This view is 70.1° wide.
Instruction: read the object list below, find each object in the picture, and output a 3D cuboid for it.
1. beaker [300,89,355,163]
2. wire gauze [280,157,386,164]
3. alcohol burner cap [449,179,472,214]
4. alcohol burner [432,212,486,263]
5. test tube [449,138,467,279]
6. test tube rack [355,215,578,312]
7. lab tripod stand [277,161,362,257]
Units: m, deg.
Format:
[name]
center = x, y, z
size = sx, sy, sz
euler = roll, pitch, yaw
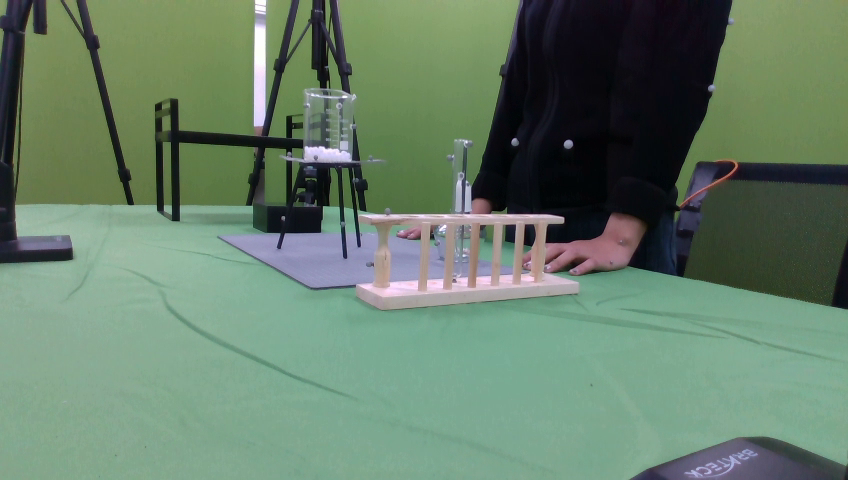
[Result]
[beaker]
center = -0.136, -0.161, 0.867
size = 0.083, 0.100, 0.074
euler = 5, 8, 24
[wire gauze]
center = -0.134, -0.113, 0.875
size = 0.122, 0.011, 0.124
euler = -1, 6, -30
[alcohol burner cap]
center = 0.052, -0.063, 0.858
size = 0.034, 0.048, 0.034
euler = 2, 13, 0
[alcohol burner]
center = 0.051, -0.027, 0.863
size = 0.078, 0.119, 0.078
euler = 1, 6, 0
[test tube]
center = 0.035, -0.033, 0.645
size = 0.017, 0.150, 0.017
euler = 3, 4, 0
[test tube rack]
center = 0.053, 0.018, 0.641
size = 0.243, 0.085, 0.066
euler = -1, 8, -29
[lab tripod stand]
center = -0.142, -0.049, 0.884
size = 0.148, 0.131, 0.148
euler = 1, 9, 0
